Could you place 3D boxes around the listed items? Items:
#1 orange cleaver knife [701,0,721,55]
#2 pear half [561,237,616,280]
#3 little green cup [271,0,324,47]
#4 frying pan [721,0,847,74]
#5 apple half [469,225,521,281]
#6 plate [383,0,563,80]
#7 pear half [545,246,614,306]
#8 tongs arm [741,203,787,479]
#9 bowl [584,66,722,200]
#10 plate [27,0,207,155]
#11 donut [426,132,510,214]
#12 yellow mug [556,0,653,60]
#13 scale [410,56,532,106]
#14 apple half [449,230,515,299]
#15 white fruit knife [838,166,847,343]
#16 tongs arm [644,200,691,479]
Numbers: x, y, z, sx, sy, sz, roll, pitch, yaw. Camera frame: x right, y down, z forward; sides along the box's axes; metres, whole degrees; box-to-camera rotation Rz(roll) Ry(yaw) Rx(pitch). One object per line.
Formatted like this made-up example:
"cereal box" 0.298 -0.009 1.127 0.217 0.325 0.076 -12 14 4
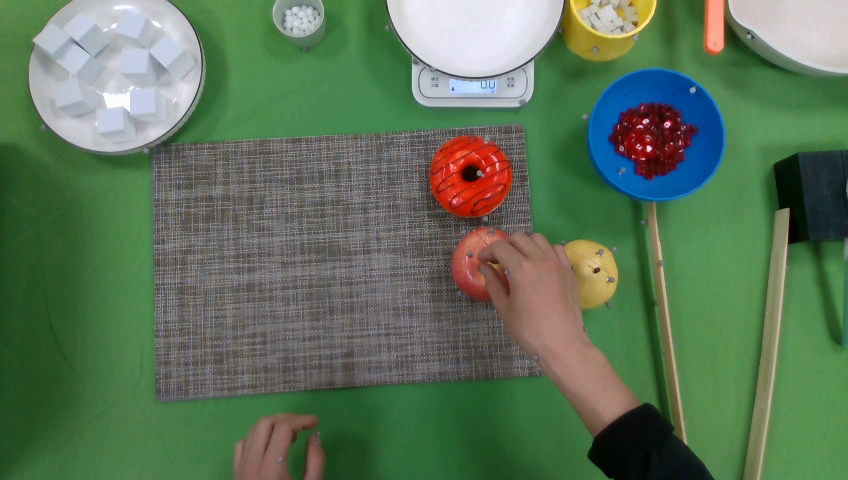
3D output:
"orange cleaver knife" 0.345 -0.315 0.693 0.077 0.012 0.210 1 84 3
"pear half" 0.189 0.016 0.679 0.070 0.088 0.031 27 84 6
"little green cup" -0.151 -0.267 0.737 0.061 0.039 0.061 0 83 0
"frying pan" 0.532 -0.245 0.703 0.307 0.103 0.485 -30 76 -2
"apple half" 0.087 0.008 0.682 0.033 0.081 0.081 -41 84 -1
"plate" 0.057 -0.284 0.710 0.209 0.038 0.208 0 83 -1
"pear half" 0.170 0.044 0.665 0.076 0.110 0.056 28 84 7
"tongs arm" 0.382 0.146 0.695 0.028 0.028 0.386 12 84 -6
"bowl" 0.252 -0.114 0.700 0.151 0.077 0.151 0 84 0
"plate" -0.362 -0.200 0.729 0.208 0.039 0.207 0 83 0
"donut" 0.051 -0.078 0.708 0.099 0.048 0.099 0 83 2
"yellow mug" 0.205 -0.288 0.726 0.100 0.064 0.130 -36 83 -3
"scale" 0.057 -0.265 0.741 0.149 0.031 0.200 1 84 0
"apple half" 0.058 0.034 0.681 0.053 0.075 0.080 -40 87 -2
"white fruit knife" 0.479 0.019 0.684 0.016 0.027 0.208 -6 98 -1
"tongs arm" 0.296 0.143 0.692 0.051 0.026 0.383 -3 84 -5
